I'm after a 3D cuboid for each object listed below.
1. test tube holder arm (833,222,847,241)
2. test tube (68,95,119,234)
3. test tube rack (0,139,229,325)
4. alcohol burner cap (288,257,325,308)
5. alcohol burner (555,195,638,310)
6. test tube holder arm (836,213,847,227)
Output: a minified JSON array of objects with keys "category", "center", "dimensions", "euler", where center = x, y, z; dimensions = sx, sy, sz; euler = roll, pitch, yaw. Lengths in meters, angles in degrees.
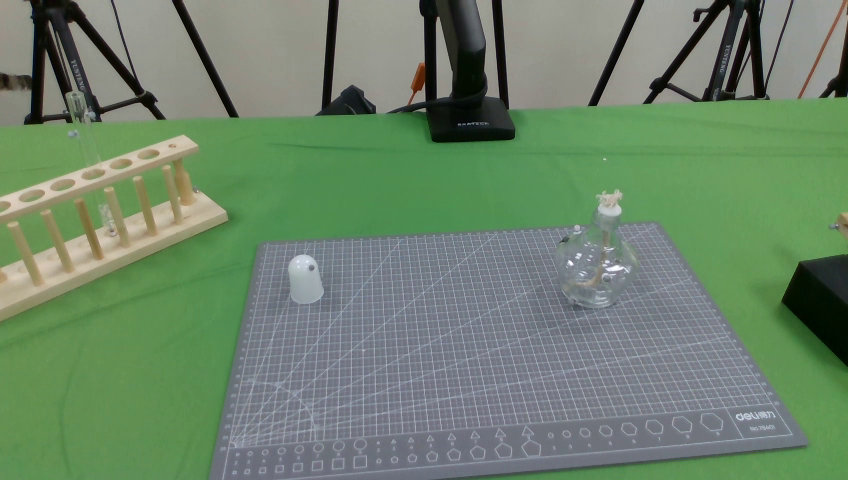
[{"category":"test tube holder arm","center":[0.421,0.033,0.534],"dimensions":[0.015,0.013,0.176],"euler":[0,36,-3]},{"category":"test tube","center":[-0.331,-0.072,0.610],"dimensions":[0.017,0.151,0.017],"euler":[2,32,-1]},{"category":"test tube rack","center":[-0.332,-0.017,0.619],"dimensions":[0.242,0.086,0.066],"euler":[-30,46,-34]},{"category":"alcohol burner cap","center":[-0.114,0.038,0.581],"dimensions":[0.034,0.048,0.033],"euler":[1,37,0]},{"category":"alcohol burner","center":[0.164,0.007,0.564],"dimensions":[0.078,0.120,0.077],"euler":[1,39,0]},{"category":"test tube holder arm","center":[0.420,0.002,0.567],"dimensions":[0.015,0.010,0.087],"euler":[0,36,-3]}]
